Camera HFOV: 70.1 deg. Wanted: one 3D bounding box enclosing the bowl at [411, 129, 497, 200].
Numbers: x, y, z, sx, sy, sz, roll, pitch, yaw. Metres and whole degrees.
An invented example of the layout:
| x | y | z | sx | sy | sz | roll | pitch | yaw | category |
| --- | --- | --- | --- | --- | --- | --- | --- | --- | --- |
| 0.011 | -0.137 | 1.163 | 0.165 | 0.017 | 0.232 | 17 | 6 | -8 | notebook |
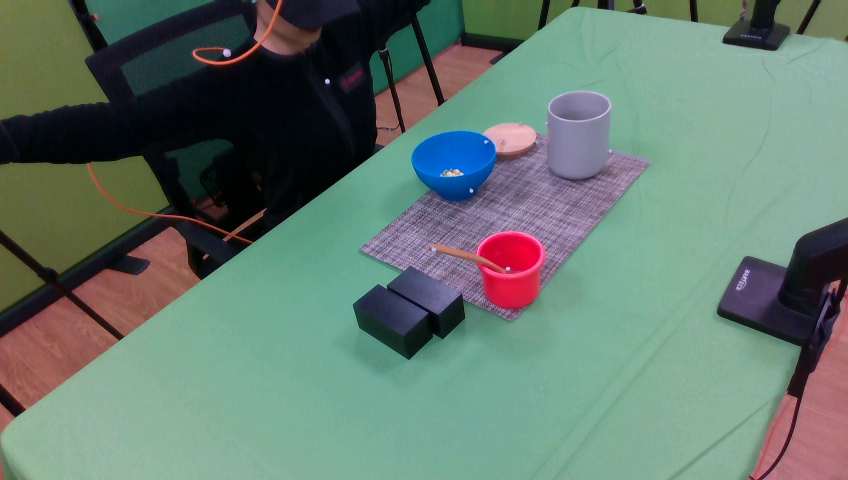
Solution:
| x | y | z | sx | sy | sz | roll | pitch | yaw | category |
| --- | --- | --- | --- | --- | --- | --- | --- | --- | --- |
| 0.056 | -0.124 | 1.069 | 0.151 | 0.077 | 0.150 | -5 | 40 | 5 | bowl |

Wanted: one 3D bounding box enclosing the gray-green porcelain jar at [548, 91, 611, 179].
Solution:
| x | y | z | sx | sy | sz | roll | pitch | yaw | category |
| --- | --- | --- | --- | --- | --- | --- | --- | --- | --- |
| 0.269 | -0.179 | 1.056 | 0.106 | 0.127 | 0.105 | -6 | 40 | 5 | gray-green porcelain jar |

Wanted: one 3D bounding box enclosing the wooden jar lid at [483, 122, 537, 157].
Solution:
| x | y | z | sx | sy | sz | roll | pitch | yaw | category |
| --- | --- | --- | --- | --- | --- | --- | --- | --- | --- |
| 0.165 | -0.195 | 1.177 | 0.108 | 0.021 | 0.108 | -4 | 40 | 4 | wooden jar lid |

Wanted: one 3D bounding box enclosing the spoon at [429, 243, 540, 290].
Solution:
| x | y | z | sx | sy | sz | roll | pitch | yaw | category |
| --- | --- | --- | --- | --- | --- | --- | --- | --- | --- |
| 0.086 | 0.033 | 0.826 | 0.195 | 0.021 | 0.041 | 23 | 26 | -33 | spoon |
